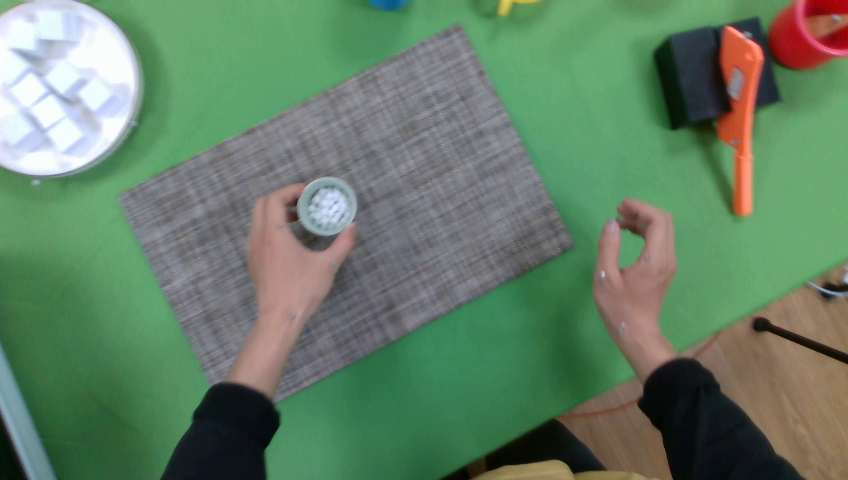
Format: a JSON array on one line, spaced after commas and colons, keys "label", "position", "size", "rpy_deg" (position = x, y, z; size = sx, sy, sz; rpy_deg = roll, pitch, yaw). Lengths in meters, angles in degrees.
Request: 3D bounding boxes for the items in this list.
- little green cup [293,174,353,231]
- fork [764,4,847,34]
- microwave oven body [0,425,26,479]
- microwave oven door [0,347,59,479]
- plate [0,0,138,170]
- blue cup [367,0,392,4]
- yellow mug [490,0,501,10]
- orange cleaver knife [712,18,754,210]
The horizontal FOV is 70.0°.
[{"label": "little green cup", "position": [-0.106, -0.040, 0.655], "size": [0.061, 0.038, 0.061], "rpy_deg": [0, 92, 3]}, {"label": "fork", "position": [0.483, -0.254, 0.652], "size": [0.206, 0.019, 0.028], "rpy_deg": [0, 85, 41]}, {"label": "microwave oven body", "position": [-0.592, 0.252, 0.567], "size": [0.326, 0.260, 0.441], "rpy_deg": [-25, 89, -2]}, {"label": "microwave oven door", "position": [-0.442, 0.230, 0.564], "size": [0.039, 0.244, 0.355], "rpy_deg": [-25, 88, -1]}, {"label": "plate", "position": [-0.430, -0.181, 0.697], "size": [0.208, 0.039, 0.207], "rpy_deg": [0, 88, 0]}, {"label": "blue cup", "position": [-0.052, -0.312, 0.673], "size": [0.093, 0.100, 0.092], "rpy_deg": [0, 89, -2]}, {"label": "yellow mug", "position": [0.102, -0.326, 0.691], "size": [0.100, 0.064, 0.130], "rpy_deg": [21, 89, 0]}, {"label": "orange cleaver knife", "position": [0.342, -0.137, 0.679], "size": [0.012, 0.076, 0.213], "rpy_deg": [-12, 117, 1]}]
